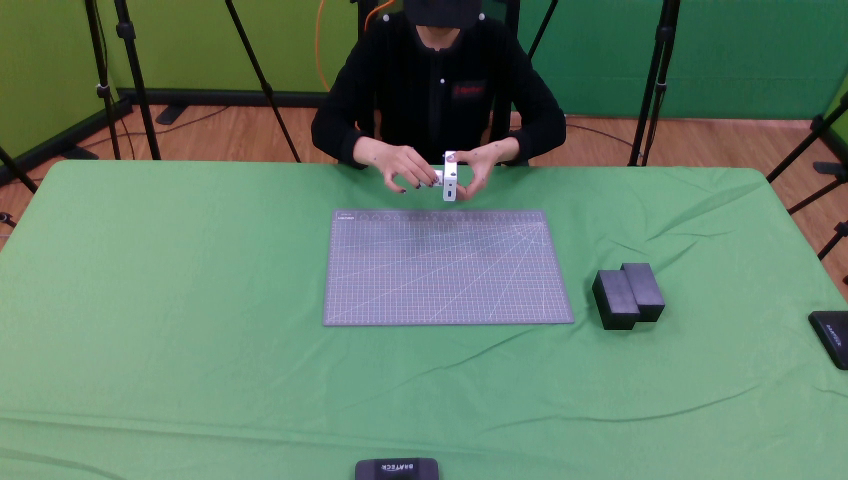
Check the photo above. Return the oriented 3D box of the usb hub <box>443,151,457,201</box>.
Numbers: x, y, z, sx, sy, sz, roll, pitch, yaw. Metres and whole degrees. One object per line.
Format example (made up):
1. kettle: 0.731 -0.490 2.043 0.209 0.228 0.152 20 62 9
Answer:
1. usb hub: 0.051 -0.128 1.184 0.025 0.050 0.124 3 33 1

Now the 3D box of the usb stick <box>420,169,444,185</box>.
1. usb stick: 0.021 -0.123 1.181 0.059 0.027 0.021 4 34 -4
